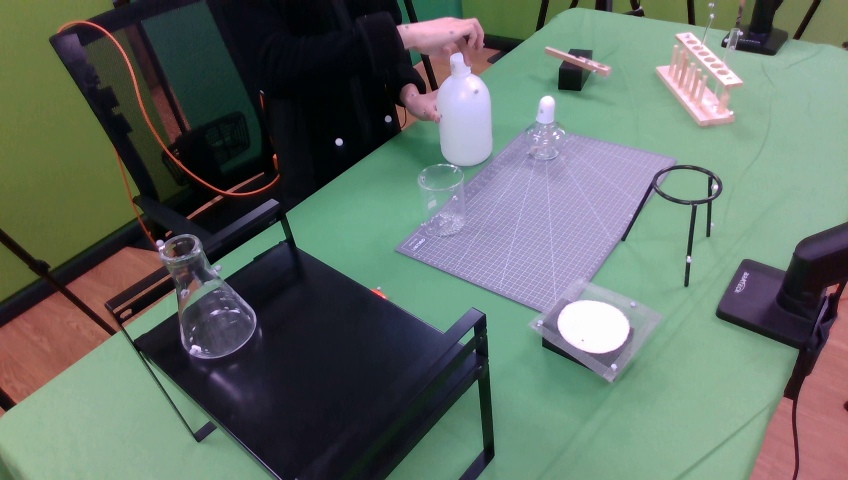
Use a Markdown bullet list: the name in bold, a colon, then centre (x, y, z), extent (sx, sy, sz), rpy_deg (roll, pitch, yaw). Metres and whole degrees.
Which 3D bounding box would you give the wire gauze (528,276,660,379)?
- **wire gauze**: centre (0.213, 0.103, 0.763), extent (0.124, 0.011, 0.122), rpy_deg (30, 52, 35)

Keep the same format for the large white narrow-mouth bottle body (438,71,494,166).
- **large white narrow-mouth bottle body**: centre (0.077, -0.242, 1.122), extent (0.102, 0.195, 0.101), rpy_deg (-4, 40, 4)

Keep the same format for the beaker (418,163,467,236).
- **beaker**: centre (0.035, -0.065, 0.990), extent (0.073, 0.101, 0.084), rpy_deg (24, 49, 32)

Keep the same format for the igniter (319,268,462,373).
- **igniter**: centre (-0.059, 0.107, 0.862), extent (0.274, 0.025, 0.057), rpy_deg (28, 62, 34)

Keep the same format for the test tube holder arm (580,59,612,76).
- **test tube holder arm**: centre (0.363, -0.369, 1.288), extent (0.010, 0.015, 0.087), rpy_deg (-28, 43, -28)

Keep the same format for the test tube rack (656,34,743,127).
- **test tube rack**: centre (0.553, -0.330, 1.233), extent (0.067, 0.085, 0.241), rpy_deg (-7, 40, 2)

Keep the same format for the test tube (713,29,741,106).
- **test tube**: centre (0.573, -0.324, 1.146), extent (0.017, 0.151, 0.017), rpy_deg (-3, 39, 3)

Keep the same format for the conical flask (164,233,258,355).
- **conical flask**: centre (-0.217, 0.051, 0.601), extent (0.075, 0.122, 0.075), rpy_deg (-4, 40, 4)

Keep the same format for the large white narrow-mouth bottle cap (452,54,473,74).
- **large white narrow-mouth bottle cap**: centre (0.068, -0.309, 1.063), extent (0.038, 0.024, 0.037), rpy_deg (-4, 40, 4)

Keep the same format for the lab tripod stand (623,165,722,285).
- **lab tripod stand**: centre (0.365, -0.030, 0.875), extent (0.148, 0.132, 0.147), rpy_deg (-6, 41, 6)

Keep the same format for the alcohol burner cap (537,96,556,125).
- **alcohol burner cap**: centre (0.223, -0.237, 1.095), extent (0.034, 0.048, 0.033), rpy_deg (-1, 42, 1)

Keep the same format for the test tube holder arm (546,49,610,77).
- **test tube holder arm**: centre (0.332, -0.387, 1.315), extent (0.013, 0.015, 0.177), rpy_deg (-26, 43, -27)

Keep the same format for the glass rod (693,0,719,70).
- **glass rod**: centre (0.560, -0.401, 1.214), extent (0.008, 0.200, 0.008), rpy_deg (-1, 48, 1)

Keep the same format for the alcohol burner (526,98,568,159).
- **alcohol burner**: centre (0.228, -0.210, 1.118), extent (0.078, 0.119, 0.077), rpy_deg (-5, 43, 5)
